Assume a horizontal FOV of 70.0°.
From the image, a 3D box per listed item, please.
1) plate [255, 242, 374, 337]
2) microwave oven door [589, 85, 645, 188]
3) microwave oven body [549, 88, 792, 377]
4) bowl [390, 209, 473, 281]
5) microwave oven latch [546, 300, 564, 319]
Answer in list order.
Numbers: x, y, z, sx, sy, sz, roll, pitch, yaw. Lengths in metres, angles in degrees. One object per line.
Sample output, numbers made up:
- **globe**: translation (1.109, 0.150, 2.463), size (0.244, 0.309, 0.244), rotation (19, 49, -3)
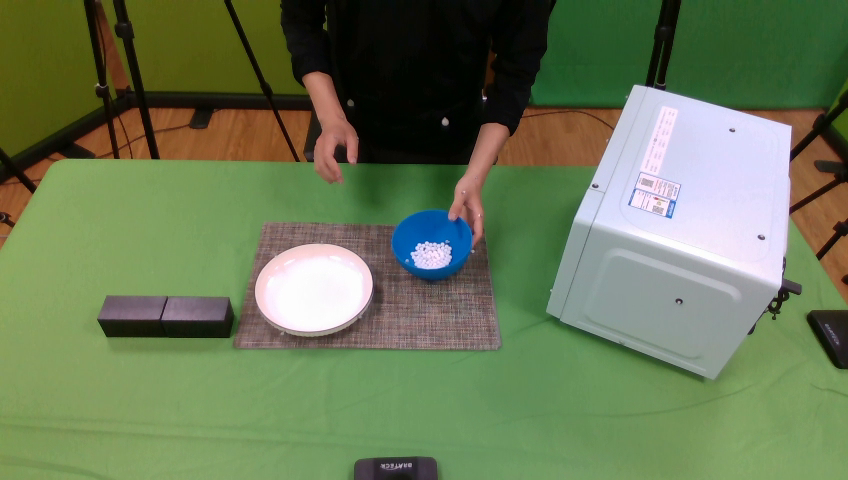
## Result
- **plate**: translation (-0.192, 0.090, 1.079), size (0.208, 0.039, 0.206), rotation (2, 46, -2)
- **microwave oven door**: translation (0.342, -0.107, 1.149), size (0.039, 0.245, 0.354), rotation (20, 48, 15)
- **microwave oven body**: translation (0.456, -0.028, 1.088), size (0.325, 0.261, 0.440), rotation (20, 47, 16)
- **bowl**: translation (0.016, 0.022, 1.127), size (0.151, 0.077, 0.150), rotation (-2, 48, 3)
- **microwave oven latch**: translation (0.242, 0.102, 1.081), size (0.030, 0.029, 0.079), rotation (21, 48, 17)
